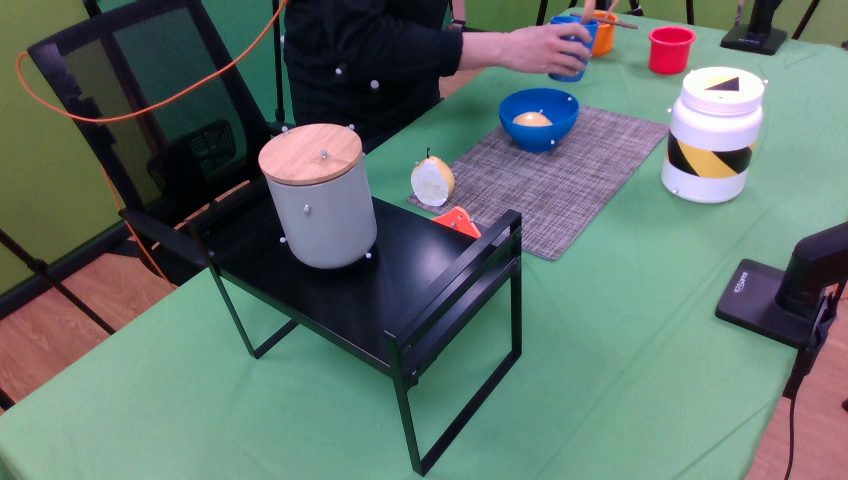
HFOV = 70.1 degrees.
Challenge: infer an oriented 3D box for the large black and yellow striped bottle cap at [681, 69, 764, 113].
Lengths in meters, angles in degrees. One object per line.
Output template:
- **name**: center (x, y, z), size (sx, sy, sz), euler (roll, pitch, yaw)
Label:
- **large black and yellow striped bottle cap**: center (0.453, -0.229, 0.921), size (0.115, 0.019, 0.114), euler (-4, 39, 4)

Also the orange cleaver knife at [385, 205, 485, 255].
- **orange cleaver knife**: center (0.012, -0.010, 0.942), size (0.012, 0.077, 0.210), euler (-36, 19, -35)

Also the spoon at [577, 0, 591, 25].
- **spoon**: center (0.273, -0.457, 1.028), size (0.021, 0.194, 0.042), euler (9, 21, 35)

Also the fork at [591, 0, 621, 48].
- **fork**: center (0.445, -0.539, 1.438), size (0.207, 0.019, 0.028), euler (-57, 36, 12)

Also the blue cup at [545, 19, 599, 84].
- **blue cup**: center (0.255, -0.334, 1.075), size (0.093, 0.100, 0.092), euler (4, 26, -2)

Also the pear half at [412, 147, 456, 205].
- **pear half**: center (0.019, -0.120, 1.043), size (0.076, 0.110, 0.056), euler (11, 44, 16)

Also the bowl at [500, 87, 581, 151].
- **bowl**: center (0.220, -0.223, 1.156), size (0.151, 0.077, 0.150), euler (-4, 40, 4)

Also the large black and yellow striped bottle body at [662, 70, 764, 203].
- **large black and yellow striped bottle body**: center (0.464, -0.166, 0.976), size (0.131, 0.185, 0.130), euler (-5, 41, 5)

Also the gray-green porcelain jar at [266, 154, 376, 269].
- **gray-green porcelain jar**: center (-0.112, -0.039, 0.686), size (0.106, 0.127, 0.105), euler (-4, 40, 4)

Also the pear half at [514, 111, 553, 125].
- **pear half**: center (0.214, -0.225, 1.150), size (0.087, 0.031, 0.070), euler (12, 46, 15)

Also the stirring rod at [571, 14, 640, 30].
- **stirring rod**: center (0.419, -0.508, 1.404), size (0.174, 0.006, 0.014), euler (28, 55, 35)

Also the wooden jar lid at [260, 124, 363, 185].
- **wooden jar lid**: center (-0.119, -0.088, 0.645), size (0.108, 0.021, 0.108), euler (-4, 40, 4)
